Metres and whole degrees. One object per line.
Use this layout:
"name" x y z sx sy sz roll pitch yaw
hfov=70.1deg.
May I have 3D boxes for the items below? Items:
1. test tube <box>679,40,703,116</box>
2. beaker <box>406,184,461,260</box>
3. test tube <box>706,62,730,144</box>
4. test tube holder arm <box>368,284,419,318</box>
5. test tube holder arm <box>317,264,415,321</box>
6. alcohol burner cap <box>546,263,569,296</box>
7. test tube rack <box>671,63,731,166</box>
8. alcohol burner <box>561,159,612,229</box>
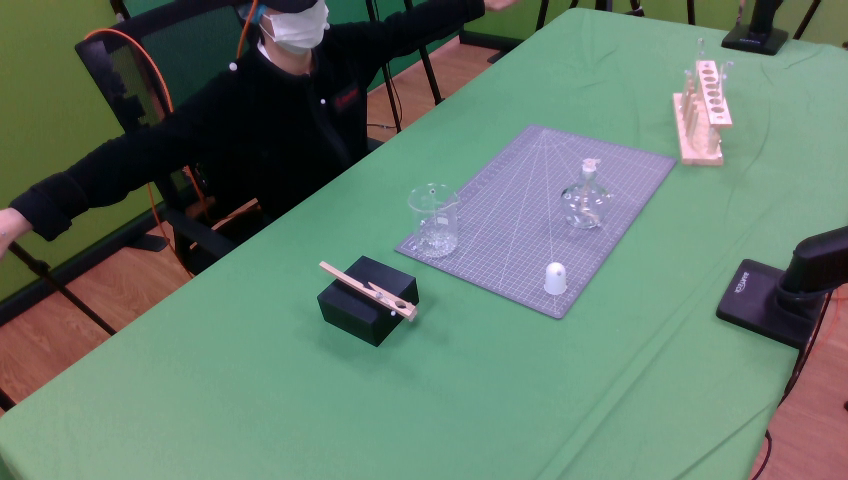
"test tube" 0.502 -0.303 1.138 0.017 0.151 0.017 -3 40 3
"beaker" 0.019 -0.026 0.939 0.084 0.101 0.074 1 41 10
"test tube" 0.507 -0.233 1.046 0.017 0.151 0.017 -5 36 4
"test tube holder arm" -0.044 0.081 0.813 0.087 0.015 0.010 23 54 31
"test tube holder arm" -0.083 0.070 0.833 0.177 0.015 0.013 22 54 30
"alcohol burner cap" 0.191 0.053 0.862 0.034 0.048 0.033 -5 40 4
"test tube rack" 0.513 -0.240 1.132 0.066 0.085 0.242 4 41 14
"alcohol burner" 0.257 -0.077 0.951 0.078 0.119 0.077 -3 40 3
